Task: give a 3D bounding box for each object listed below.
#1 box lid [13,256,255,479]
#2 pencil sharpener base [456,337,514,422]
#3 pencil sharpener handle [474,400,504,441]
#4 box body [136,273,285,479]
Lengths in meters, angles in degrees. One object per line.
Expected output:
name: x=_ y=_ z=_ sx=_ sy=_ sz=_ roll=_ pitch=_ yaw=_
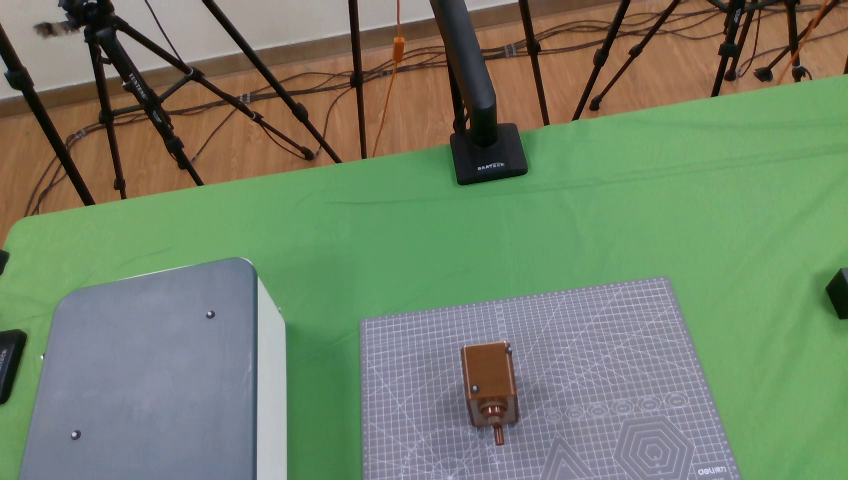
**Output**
box lid: x=-0.321 y=0.189 z=0.684 sx=0.263 sy=0.015 sz=0.367 roll=-11 pitch=57 yaw=0
pencil sharpener base: x=0.077 y=0.179 z=0.755 sx=0.061 sy=0.108 sz=0.076 roll=-8 pitch=56 yaw=3
pencil sharpener handle: x=0.081 y=0.214 z=0.716 sx=0.036 sy=0.068 sz=0.030 roll=-11 pitch=56 yaw=8
box body: x=-0.314 y=0.229 z=0.752 sx=0.254 sy=0.162 sz=0.360 roll=-11 pitch=55 yaw=1
